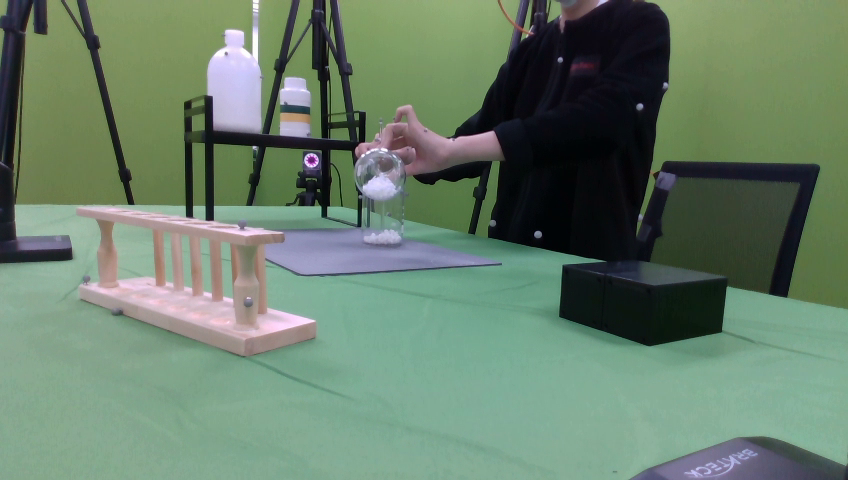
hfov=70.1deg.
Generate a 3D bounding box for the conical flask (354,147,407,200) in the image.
[{"bbox_3d":[-0.061,-0.107,0.898,0.075,0.075,0.122,2,17,0],"label":"conical flask"}]

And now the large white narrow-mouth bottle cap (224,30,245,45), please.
[{"bbox_3d":[-0.365,-0.389,1.166,0.038,0.024,0.037,2,9,0],"label":"large white narrow-mouth bottle cap"}]

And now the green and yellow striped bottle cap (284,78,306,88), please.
[{"bbox_3d":[-0.268,-0.325,1.259,0.045,0.020,0.045,5,7,0],"label":"green and yellow striped bottle cap"}]

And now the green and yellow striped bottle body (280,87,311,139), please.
[{"bbox_3d":[-0.269,-0.274,1.266,0.063,0.119,0.063,3,7,0],"label":"green and yellow striped bottle body"}]

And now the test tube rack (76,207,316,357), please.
[{"bbox_3d":[-0.196,0.023,0.500,0.241,0.085,0.067,8,9,36],"label":"test tube rack"}]

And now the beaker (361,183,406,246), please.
[{"bbox_3d":[-0.067,-0.042,0.993,0.074,0.100,0.084,1,8,-8],"label":"beaker"}]

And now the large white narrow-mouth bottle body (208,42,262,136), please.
[{"bbox_3d":[-0.368,-0.304,1.181,0.102,0.194,0.101,2,9,0],"label":"large white narrow-mouth bottle body"}]

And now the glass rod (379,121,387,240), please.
[{"bbox_3d":[-0.069,-0.099,1.012,0.008,0.199,0.008,-1,5,0],"label":"glass rod"}]
